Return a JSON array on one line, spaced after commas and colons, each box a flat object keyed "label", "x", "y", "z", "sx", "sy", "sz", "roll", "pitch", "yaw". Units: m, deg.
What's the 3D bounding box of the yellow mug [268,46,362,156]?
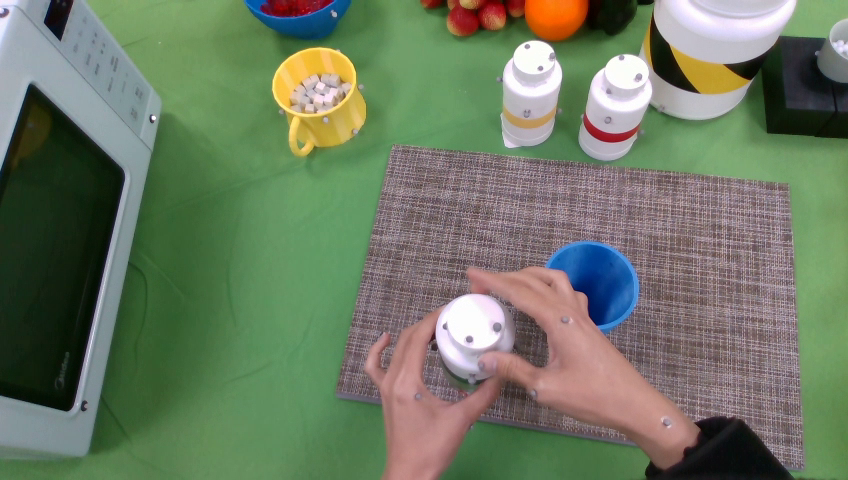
[{"label": "yellow mug", "x": -0.135, "y": -0.160, "z": 0.727, "sx": 0.099, "sy": 0.064, "sz": 0.130, "roll": 17, "pitch": 70, "yaw": 11}]

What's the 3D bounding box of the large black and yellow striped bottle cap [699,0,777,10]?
[{"label": "large black and yellow striped bottle cap", "x": 0.297, "y": -0.268, "z": 0.576, "sx": 0.115, "sy": 0.019, "sz": 0.114, "roll": -2, "pitch": 65, "yaw": 5}]

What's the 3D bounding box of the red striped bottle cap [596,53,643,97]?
[{"label": "red striped bottle cap", "x": 0.198, "y": -0.167, "z": 0.611, "sx": 0.044, "sy": 0.018, "sz": 0.044, "roll": 0, "pitch": 66, "yaw": 1}]

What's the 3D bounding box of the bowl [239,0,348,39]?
[{"label": "bowl", "x": -0.161, "y": -0.319, "z": 0.792, "sx": 0.151, "sy": 0.077, "sz": 0.150, "roll": -2, "pitch": 67, "yaw": 4}]

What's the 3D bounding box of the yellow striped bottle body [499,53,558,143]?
[{"label": "yellow striped bottle body", "x": 0.115, "y": -0.166, "z": 0.676, "sx": 0.063, "sy": 0.121, "sz": 0.062, "roll": -2, "pitch": 66, "yaw": 6}]

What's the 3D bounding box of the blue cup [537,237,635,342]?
[{"label": "blue cup", "x": 0.147, "y": 0.057, "z": 0.583, "sx": 0.092, "sy": 0.101, "sz": 0.092, "roll": -1, "pitch": 66, "yaw": 3}]

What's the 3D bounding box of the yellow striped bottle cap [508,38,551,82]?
[{"label": "yellow striped bottle cap", "x": 0.110, "y": -0.187, "z": 0.629, "sx": 0.044, "sy": 0.019, "sz": 0.044, "roll": -2, "pitch": 68, "yaw": 4}]

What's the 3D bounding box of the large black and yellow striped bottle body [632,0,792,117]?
[{"label": "large black and yellow striped bottle body", "x": 0.306, "y": -0.236, "z": 0.653, "sx": 0.130, "sy": 0.185, "sz": 0.130, "roll": -2, "pitch": 66, "yaw": 5}]

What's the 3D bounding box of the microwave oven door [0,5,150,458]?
[{"label": "microwave oven door", "x": -0.360, "y": 0.006, "z": 0.562, "sx": 0.039, "sy": 0.246, "sz": 0.353, "roll": -2, "pitch": 66, "yaw": 5}]

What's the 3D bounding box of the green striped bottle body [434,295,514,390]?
[{"label": "green striped bottle body", "x": 0.041, "y": 0.083, "z": 0.501, "sx": 0.063, "sy": 0.120, "sz": 0.062, "roll": -1, "pitch": 66, "yaw": 3}]

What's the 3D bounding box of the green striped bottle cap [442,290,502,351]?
[{"label": "green striped bottle cap", "x": 0.036, "y": 0.060, "z": 0.452, "sx": 0.044, "sy": 0.020, "sz": 0.044, "roll": -1, "pitch": 68, "yaw": 2}]

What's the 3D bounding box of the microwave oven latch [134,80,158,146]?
[{"label": "microwave oven latch", "x": -0.348, "y": -0.155, "z": 0.740, "sx": 0.030, "sy": 0.030, "sz": 0.078, "roll": 0, "pitch": 67, "yaw": 5}]

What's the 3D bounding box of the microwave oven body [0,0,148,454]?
[{"label": "microwave oven body", "x": -0.505, "y": -0.026, "z": 0.595, "sx": 0.326, "sy": 0.262, "sz": 0.438, "roll": -2, "pitch": 67, "yaw": 4}]

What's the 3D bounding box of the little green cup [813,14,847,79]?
[{"label": "little green cup", "x": 0.454, "y": -0.205, "z": 0.650, "sx": 0.061, "sy": 0.039, "sz": 0.061, "roll": -1, "pitch": 66, "yaw": 3}]

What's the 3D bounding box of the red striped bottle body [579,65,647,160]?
[{"label": "red striped bottle body", "x": 0.205, "y": -0.145, "z": 0.659, "sx": 0.063, "sy": 0.121, "sz": 0.062, "roll": -4, "pitch": 63, "yaw": 8}]
